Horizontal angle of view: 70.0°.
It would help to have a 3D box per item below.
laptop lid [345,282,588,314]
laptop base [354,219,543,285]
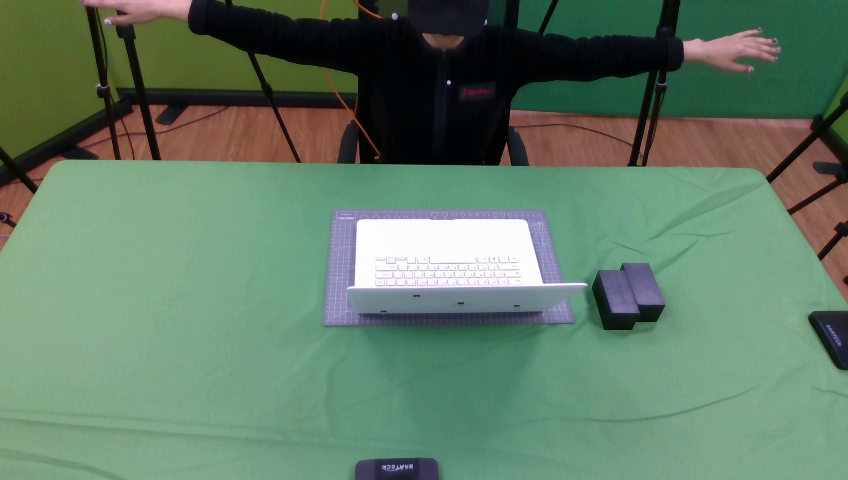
[{"bbox_3d":[0.057,0.096,0.969,0.357,0.242,0.013,0,74,-6],"label":"laptop lid"},{"bbox_3d":[0.043,0.044,1.162,0.355,0.023,0.234,0,43,-5],"label":"laptop base"}]
